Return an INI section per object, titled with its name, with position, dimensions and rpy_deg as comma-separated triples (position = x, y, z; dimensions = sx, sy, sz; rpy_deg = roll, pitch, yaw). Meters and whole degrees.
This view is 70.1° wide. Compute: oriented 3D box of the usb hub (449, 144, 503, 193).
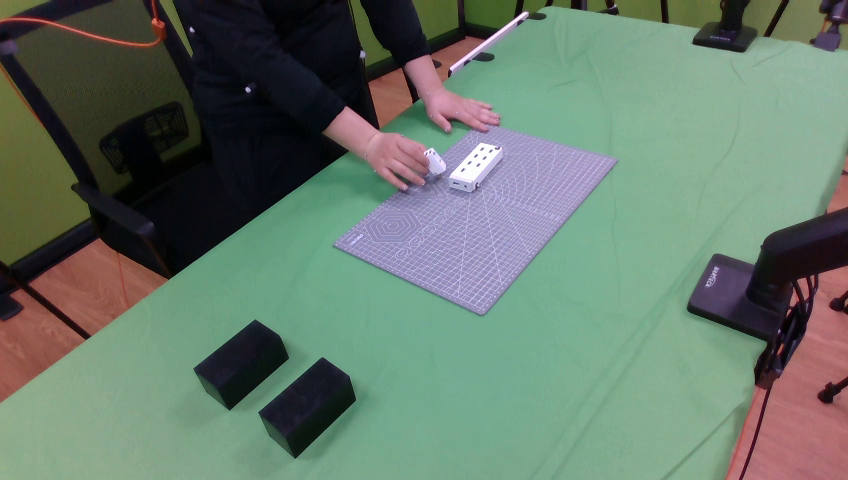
[usb hub]
position = 0.096, -0.132, 1.105
dimensions = 0.049, 0.025, 0.125
rpy_deg = 18, 47, 27

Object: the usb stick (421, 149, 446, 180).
[usb stick]
position = 0.021, -0.135, 1.095
dimensions = 0.027, 0.059, 0.021
rpy_deg = -22, 35, 23
